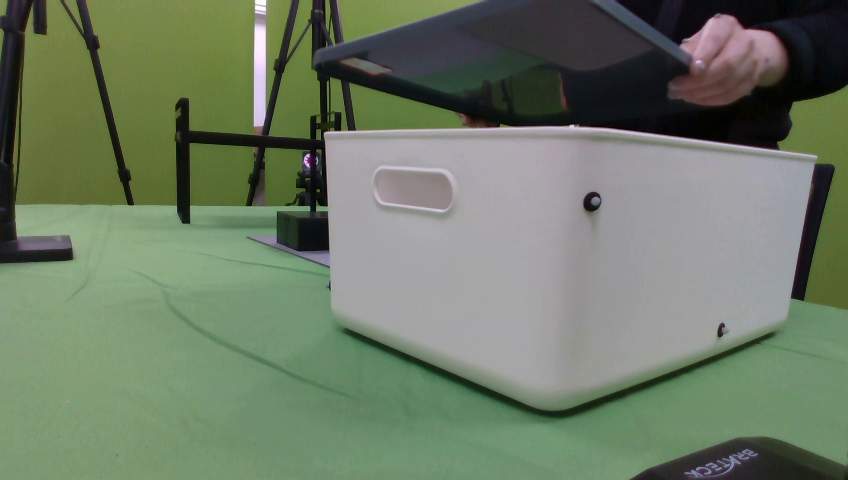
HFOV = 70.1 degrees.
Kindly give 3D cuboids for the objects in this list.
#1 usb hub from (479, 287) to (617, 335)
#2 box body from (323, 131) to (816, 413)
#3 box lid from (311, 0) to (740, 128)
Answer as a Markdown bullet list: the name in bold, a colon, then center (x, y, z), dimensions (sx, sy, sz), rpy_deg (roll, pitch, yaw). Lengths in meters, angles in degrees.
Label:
- **usb hub**: center (0.110, 0.059, 0.527), dimensions (0.126, 0.025, 0.049), rpy_deg (-1, 6, -36)
- **box body**: center (0.125, -0.001, 0.510), dimensions (0.366, 0.160, 0.253), rpy_deg (-4, 10, -40)
- **box lid**: center (0.112, -0.145, 0.567), dimensions (0.262, 0.015, 0.374), rpy_deg (2, 1, 42)
